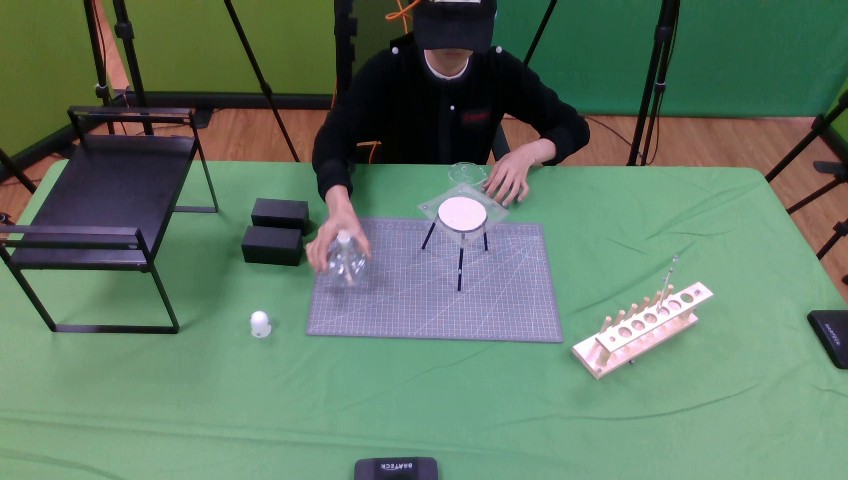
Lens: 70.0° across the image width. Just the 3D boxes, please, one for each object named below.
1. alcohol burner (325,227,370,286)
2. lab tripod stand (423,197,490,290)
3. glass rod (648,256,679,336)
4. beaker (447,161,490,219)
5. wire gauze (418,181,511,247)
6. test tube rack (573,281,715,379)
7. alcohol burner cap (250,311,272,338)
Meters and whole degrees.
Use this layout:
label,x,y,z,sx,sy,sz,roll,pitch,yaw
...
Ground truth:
label,x,y,z,sx,sy,sz,roll,pitch,yaw
alcohol burner,-0.133,0.023,1.042,0.078,0.120,0.077,1,45,0
lab tripod stand,0.064,-0.003,1.120,0.148,0.132,0.147,1,47,0
glass rod,0.390,0.095,0.990,0.008,0.201,0.008,-2,45,2
beaker,0.087,-0.099,1.243,0.084,0.101,0.073,5,46,0
wire gauze,0.071,-0.052,1.074,0.121,0.011,0.124,-31,55,-28
test tube rack,0.378,0.140,1.038,0.242,0.085,0.066,-22,51,-23
alcohol burner cap,-0.278,0.141,1.026,0.034,0.048,0.033,1,46,-1
